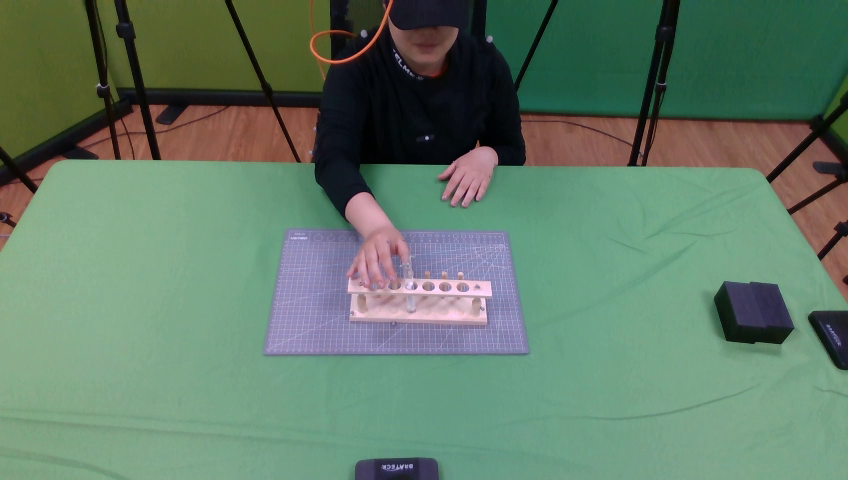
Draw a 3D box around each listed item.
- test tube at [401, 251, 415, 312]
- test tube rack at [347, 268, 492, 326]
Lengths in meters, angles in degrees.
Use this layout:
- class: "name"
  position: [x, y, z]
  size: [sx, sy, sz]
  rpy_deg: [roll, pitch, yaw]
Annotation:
- class: "test tube"
  position: [-0.026, 0.072, 1.011]
  size: [0.017, 0.151, 0.017]
  rpy_deg: [-1, 48, 2]
- class: "test tube rack"
  position: [-0.009, 0.095, 1.059]
  size: [0.242, 0.085, 0.066]
  rpy_deg: [2, 46, -2]
